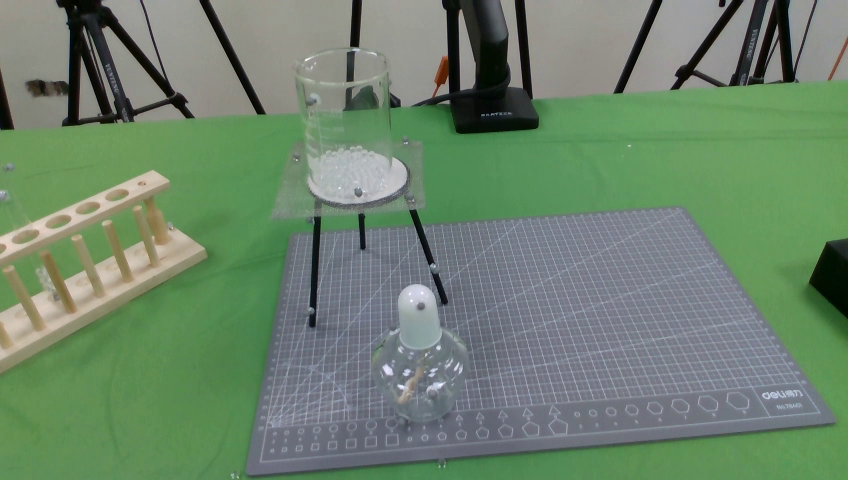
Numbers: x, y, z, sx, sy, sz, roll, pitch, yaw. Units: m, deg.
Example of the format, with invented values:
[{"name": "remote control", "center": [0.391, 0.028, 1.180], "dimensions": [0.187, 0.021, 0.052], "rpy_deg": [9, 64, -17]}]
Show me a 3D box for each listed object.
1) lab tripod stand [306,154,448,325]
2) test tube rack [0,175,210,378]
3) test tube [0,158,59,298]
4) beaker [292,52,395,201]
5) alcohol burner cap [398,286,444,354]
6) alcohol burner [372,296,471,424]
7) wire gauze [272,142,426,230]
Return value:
[{"name": "lab tripod stand", "center": [-0.049, -0.002, 0.559], "dimensions": [0.148, 0.132, 0.147], "rpy_deg": [0, 36, 1]}, {"name": "test tube rack", "center": [-0.337, 0.033, 0.574], "dimensions": [0.066, 0.086, 0.242], "rpy_deg": [27, 46, 33]}, {"name": "test tube", "center": [-0.361, -0.009, 0.547], "dimensions": [0.017, 0.151, 0.017], "rpy_deg": [-3, 32, 2]}, {"name": "beaker", "center": [-0.064, -0.090, 0.485], "dimensions": [0.083, 0.101, 0.074], "rpy_deg": [24, 43, 29]}, {"name": "alcohol burner cap", "center": [-0.003, 0.055, 0.438], "dimensions": [0.034, 0.048, 0.033], "rpy_deg": [-4, 37, 3]}, {"name": "alcohol burner", "center": [-0.002, 0.084, 0.460], "dimensions": [0.078, 0.120, 0.077], "rpy_deg": [-1, 39, 1]}, {"name": "wire gauze", "center": [-0.060, -0.052, 0.517], "dimensions": [0.121, 0.011, 0.124], "rpy_deg": [-3, 39, 0]}]
